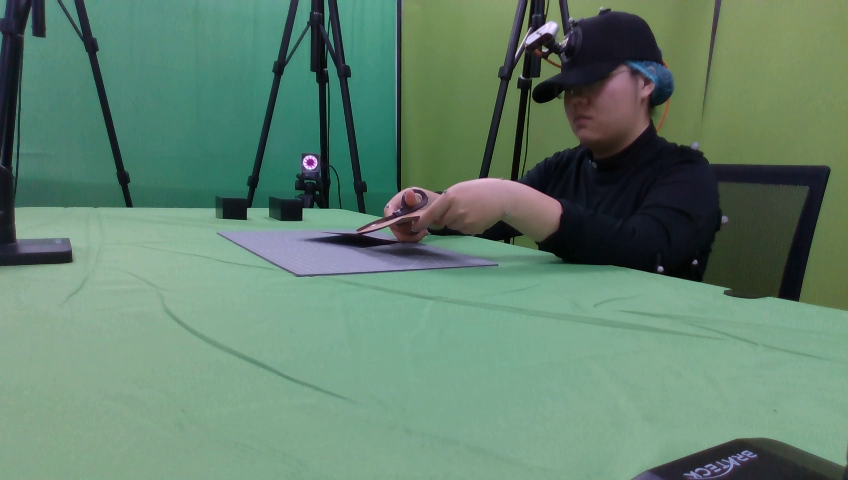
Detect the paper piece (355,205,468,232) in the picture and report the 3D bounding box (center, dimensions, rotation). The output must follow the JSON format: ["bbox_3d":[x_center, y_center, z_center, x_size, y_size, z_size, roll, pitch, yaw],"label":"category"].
[{"bbox_3d":[-0.020,-0.034,0.941,0.136,0.008,0.137,-22,10,-36],"label":"paper piece"}]

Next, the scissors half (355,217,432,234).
[{"bbox_3d":[-0.048,-0.025,1.018,0.012,0.040,0.176,-4,3,45],"label":"scissors half"}]

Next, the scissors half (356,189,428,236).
[{"bbox_3d":[-0.053,-0.045,1.015,0.013,0.040,0.176,-12,18,45],"label":"scissors half"}]

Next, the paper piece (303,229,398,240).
[{"bbox_3d":[-0.127,-0.010,1.050,0.135,0.004,0.136,6,0,35],"label":"paper piece"}]
